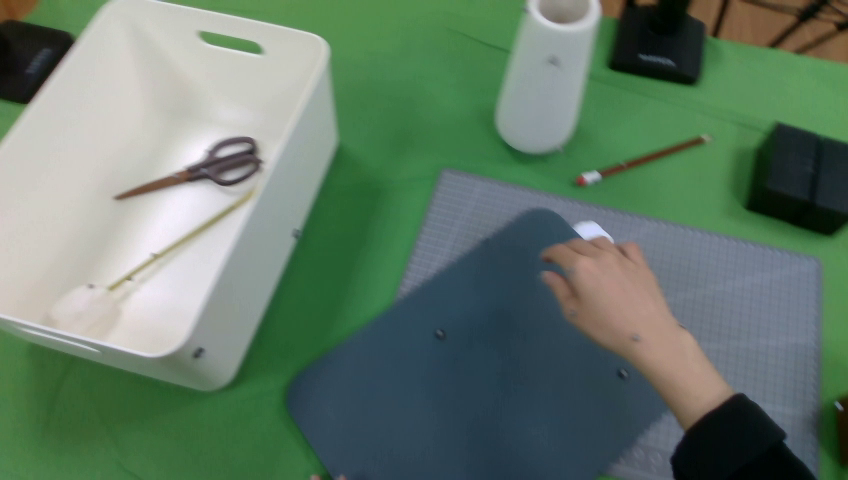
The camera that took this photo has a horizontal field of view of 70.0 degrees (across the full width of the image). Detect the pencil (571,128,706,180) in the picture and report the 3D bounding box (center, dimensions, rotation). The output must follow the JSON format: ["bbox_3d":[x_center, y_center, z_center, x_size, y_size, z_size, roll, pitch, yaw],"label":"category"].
[{"bbox_3d":[0.268,-0.108,0.747,0.194,0.012,0.012,-20,64,-12],"label":"pencil"}]

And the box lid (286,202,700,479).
[{"bbox_3d":[0.074,0.138,0.620,0.371,0.015,0.261,-35,69,-15],"label":"box lid"}]

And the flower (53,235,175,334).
[{"bbox_3d":[-0.270,-0.021,0.713,0.038,0.044,0.360,7,39,30],"label":"flower"}]

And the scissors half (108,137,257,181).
[{"bbox_3d":[-0.287,-0.091,0.719,0.175,0.040,0.012,-13,26,-1],"label":"scissors half"}]

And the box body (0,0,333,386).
[{"bbox_3d":[-0.267,-0.053,0.632,0.254,0.161,0.361,13,64,7],"label":"box body"}]

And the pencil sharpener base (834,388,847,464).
[{"bbox_3d":[0.436,0.171,0.552,0.061,0.108,0.076,10,64,5],"label":"pencil sharpener base"}]

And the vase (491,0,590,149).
[{"bbox_3d":[0.130,-0.193,0.683,0.098,0.201,0.097,0,62,1],"label":"vase"}]

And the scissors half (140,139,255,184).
[{"bbox_3d":[-0.283,-0.078,0.725,0.175,0.040,0.012,-18,20,2],"label":"scissors half"}]
